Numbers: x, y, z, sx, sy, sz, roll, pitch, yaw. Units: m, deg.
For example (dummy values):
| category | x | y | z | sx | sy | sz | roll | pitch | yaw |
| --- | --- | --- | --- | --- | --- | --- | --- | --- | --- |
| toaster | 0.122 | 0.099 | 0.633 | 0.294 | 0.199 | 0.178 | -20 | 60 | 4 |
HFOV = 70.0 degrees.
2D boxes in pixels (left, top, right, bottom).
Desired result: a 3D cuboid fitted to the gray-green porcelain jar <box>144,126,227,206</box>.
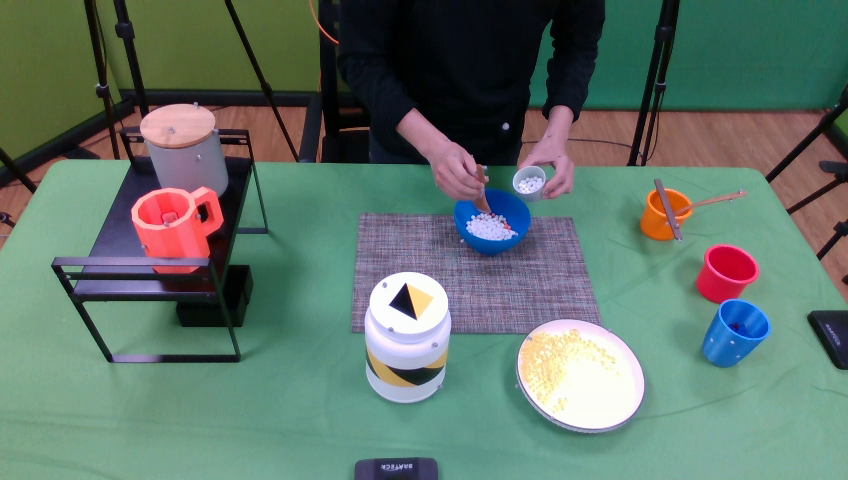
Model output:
| category | x | y | z | sx | sy | sz | roll | pitch | yaw |
| --- | --- | --- | --- | --- | --- | --- | --- | --- | --- |
| gray-green porcelain jar | -0.375 | -0.126 | 0.967 | 0.106 | 0.127 | 0.105 | 2 | 46 | -2 |

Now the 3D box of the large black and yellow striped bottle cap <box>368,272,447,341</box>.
| category | x | y | z | sx | sy | sz | roll | pitch | yaw |
| --- | --- | --- | --- | --- | --- | --- | --- | --- | --- |
| large black and yellow striped bottle cap | -0.023 | 0.093 | 0.875 | 0.115 | 0.019 | 0.114 | 3 | 46 | -3 |

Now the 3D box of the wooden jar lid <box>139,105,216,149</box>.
| category | x | y | z | sx | sy | sz | roll | pitch | yaw |
| --- | --- | --- | --- | --- | --- | --- | --- | --- | --- |
| wooden jar lid | -0.372 | -0.169 | 0.920 | 0.108 | 0.021 | 0.107 | 4 | 43 | -4 |

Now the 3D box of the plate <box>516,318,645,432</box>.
| category | x | y | z | sx | sy | sz | roll | pitch | yaw |
| --- | --- | --- | --- | --- | --- | --- | --- | --- | --- |
| plate | 0.253 | 0.221 | 0.993 | 0.209 | 0.038 | 0.208 | 2 | 46 | -2 |

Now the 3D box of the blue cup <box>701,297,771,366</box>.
| category | x | y | z | sx | sy | sz | roll | pitch | yaw |
| --- | --- | --- | --- | --- | --- | --- | --- | --- | --- |
| blue cup | 0.519 | 0.162 | 1.025 | 0.093 | 0.101 | 0.092 | 3 | 45 | -3 |

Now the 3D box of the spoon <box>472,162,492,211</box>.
| category | x | y | z | sx | sy | sz | roll | pitch | yaw |
| --- | --- | --- | --- | --- | --- | --- | --- | --- | --- |
| spoon | 0.099 | -0.092 | 1.059 | 0.041 | 0.194 | 0.021 | 32 | 75 | 18 |

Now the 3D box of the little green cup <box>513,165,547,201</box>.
| category | x | y | z | sx | sy | sz | roll | pitch | yaw |
| --- | --- | --- | --- | --- | --- | --- | --- | --- | --- |
| little green cup | 0.199 | -0.103 | 1.125 | 0.061 | 0.039 | 0.061 | -10 | 61 | 19 |

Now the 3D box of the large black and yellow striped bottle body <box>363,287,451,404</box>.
| category | x | y | z | sx | sy | sz | roll | pitch | yaw |
| --- | --- | --- | --- | --- | --- | --- | --- | --- | --- |
| large black and yellow striped bottle body | -0.027 | 0.153 | 0.935 | 0.131 | 0.185 | 0.130 | 2 | 46 | -2 |

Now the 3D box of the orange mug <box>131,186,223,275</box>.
| category | x | y | z | sx | sy | sz | roll | pitch | yaw |
| --- | --- | --- | --- | --- | --- | --- | --- | --- | --- |
| orange mug | -0.354 | -0.023 | 0.888 | 0.083 | 0.101 | 0.126 | 31 | 56 | 24 |

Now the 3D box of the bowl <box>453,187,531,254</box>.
| category | x | y | z | sx | sy | sz | roll | pitch | yaw |
| --- | --- | --- | --- | --- | --- | --- | --- | --- | --- |
| bowl | 0.128 | -0.025 | 1.187 | 0.151 | 0.077 | 0.150 | 2 | 46 | -2 |

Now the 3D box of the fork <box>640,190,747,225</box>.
| category | x | y | z | sx | sy | sz | roll | pitch | yaw |
| --- | --- | --- | --- | --- | --- | --- | --- | --- | --- |
| fork | 0.533 | -0.065 | 1.211 | 0.207 | 0.019 | 0.028 | -22 | 28 | 39 |

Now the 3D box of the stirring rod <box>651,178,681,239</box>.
| category | x | y | z | sx | sy | sz | roll | pitch | yaw |
| --- | --- | --- | --- | --- | --- | --- | --- | --- | --- |
| stirring rod | 0.479 | -0.065 | 1.204 | 0.014 | 0.006 | 0.175 | 3 | 46 | -4 |
